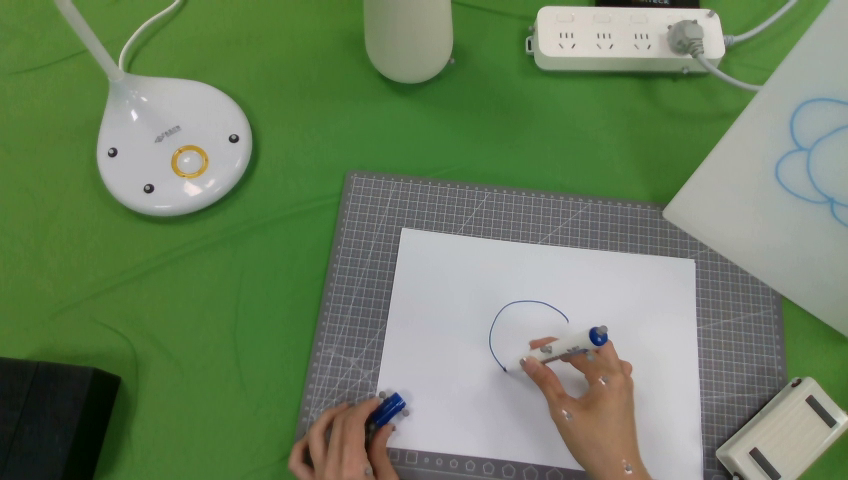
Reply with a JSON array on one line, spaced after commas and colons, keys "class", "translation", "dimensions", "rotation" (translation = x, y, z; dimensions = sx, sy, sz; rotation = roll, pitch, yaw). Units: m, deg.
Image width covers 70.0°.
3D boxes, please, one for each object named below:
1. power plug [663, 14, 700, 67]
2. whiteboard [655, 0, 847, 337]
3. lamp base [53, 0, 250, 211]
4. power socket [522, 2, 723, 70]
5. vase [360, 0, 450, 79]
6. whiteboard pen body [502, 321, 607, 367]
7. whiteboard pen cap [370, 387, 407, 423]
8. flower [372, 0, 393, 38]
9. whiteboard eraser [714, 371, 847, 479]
[{"class": "power plug", "translation": [0.277, -0.212, 0.660], "dimensions": [0.035, 0.053, 0.072], "rotation": [11, 76, 4]}, {"class": "whiteboard", "translation": [0.397, -0.095, 0.529], "dimensions": [0.216, 0.307, 0.143], "rotation": [36, 53, 13]}, {"class": "lamp base", "translation": [-0.276, -0.139, 0.576], "dimensions": [0.178, 0.181, 0.160], "rotation": [38, 73, 16]}, {"class": "power socket", "translation": [0.227, -0.233, 0.691], "dimensions": [0.227, 0.033, 0.071], "rotation": [1, 70, 0]}, {"class": "vase", "translation": [-0.022, -0.253, 0.609], "dimensions": [0.098, 0.201, 0.097], "rotation": [0, 69, 1]}, {"class": "whiteboard pen body", "translation": [0.105, 0.093, 0.516], "dimensions": [0.017, 0.141, 0.017], "rotation": [11, 64, -23]}, {"class": "whiteboard pen cap", "translation": [-0.032, 0.150, 0.554], "dimensions": [0.033, 0.018, 0.018], "rotation": [-39, 74, -18]}, {"class": "flower", "translation": [-0.004, -0.272, 0.529], "dimensions": [0.044, 0.361, 0.038], "rotation": [-36, 90, -21]}, {"class": "whiteboard eraser", "translation": [0.313, 0.170, 0.535], "dimensions": [0.112, 0.042, 0.055], "rotation": [-36, 73, -12]}]
